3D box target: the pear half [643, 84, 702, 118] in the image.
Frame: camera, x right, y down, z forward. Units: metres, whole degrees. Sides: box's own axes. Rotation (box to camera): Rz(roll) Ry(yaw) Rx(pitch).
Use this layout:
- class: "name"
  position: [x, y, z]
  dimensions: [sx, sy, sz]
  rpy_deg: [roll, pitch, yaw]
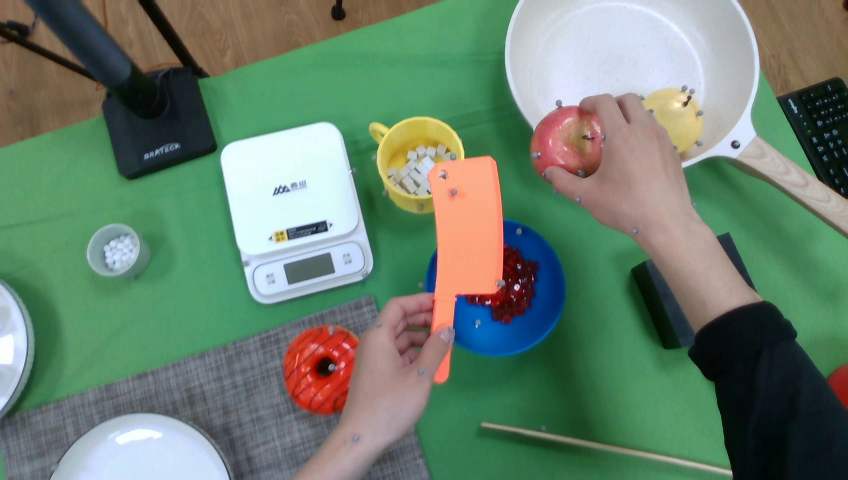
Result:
- class: "pear half"
  position: [0.289, -0.164, 0.704]
  dimensions: [0.070, 0.088, 0.031]
  rpy_deg: [15, 80, 8]

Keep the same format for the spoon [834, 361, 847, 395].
- class: "spoon"
  position: [0.496, 0.191, 0.604]
  dimensions: [0.041, 0.022, 0.191]
  rpy_deg: [-24, 34, -4]

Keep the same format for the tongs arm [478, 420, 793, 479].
- class: "tongs arm"
  position: [0.249, 0.240, 0.654]
  dimensions: [0.387, 0.028, 0.028]
  rpy_deg: [11, 72, 3]

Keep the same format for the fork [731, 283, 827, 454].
- class: "fork"
  position: [0.388, 0.141, 0.657]
  dimensions: [0.028, 0.018, 0.207]
  rpy_deg: [-28, 95, -7]

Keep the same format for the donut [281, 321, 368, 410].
- class: "donut"
  position: [-0.110, 0.139, 0.673]
  dimensions: [0.099, 0.048, 0.098]
  rpy_deg: [-1, 79, 4]

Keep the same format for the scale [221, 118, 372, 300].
- class: "scale"
  position: [-0.153, -0.039, 0.721]
  dimensions: [0.149, 0.032, 0.200]
  rpy_deg: [-14, 79, -1]

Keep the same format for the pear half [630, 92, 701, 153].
- class: "pear half"
  position: [0.275, -0.133, 0.688]
  dimensions: [0.076, 0.110, 0.056]
  rpy_deg: [17, 80, 8]

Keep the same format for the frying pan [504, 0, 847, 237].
- class: "frying pan"
  position: [0.312, -0.146, 0.698]
  dimensions: [0.306, 0.103, 0.484]
  rpy_deg: [-45, 73, -7]

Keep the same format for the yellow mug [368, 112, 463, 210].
- class: "yellow mug"
  position: [-0.016, -0.101, 0.714]
  dimensions: [0.130, 0.064, 0.100]
  rpy_deg: [38, 82, 10]

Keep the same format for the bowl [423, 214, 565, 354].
- class: "bowl"
  position: [0.075, 0.052, 0.675]
  dimensions: [0.151, 0.077, 0.150]
  rpy_deg: [0, 79, 1]

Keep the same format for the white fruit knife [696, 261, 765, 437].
- class: "white fruit knife"
  position: [0.329, 0.120, 0.655]
  dimensions: [0.016, 0.027, 0.207]
  rpy_deg: [-21, 93, -2]

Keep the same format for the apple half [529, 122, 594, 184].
- class: "apple half"
  position: [0.127, -0.077, 0.597]
  dimensions: [0.081, 0.081, 0.033]
  rpy_deg: [43, 85, 10]

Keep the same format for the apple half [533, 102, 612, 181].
- class: "apple half"
  position: [0.153, -0.104, 0.601]
  dimensions: [0.080, 0.075, 0.053]
  rpy_deg: [43, 82, 4]

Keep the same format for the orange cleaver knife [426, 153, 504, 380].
- class: "orange cleaver knife"
  position: [0.036, 0.020, 0.548]
  dimensions: [0.077, 0.012, 0.210]
  rpy_deg: [5, 81, -12]

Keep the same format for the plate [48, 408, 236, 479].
- class: "plate"
  position: [-0.299, 0.286, 0.650]
  dimensions: [0.209, 0.038, 0.208]
  rpy_deg: [0, 79, 1]

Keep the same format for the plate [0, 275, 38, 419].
- class: "plate"
  position: [-0.541, 0.129, 0.691]
  dimensions: [0.208, 0.039, 0.206]
  rpy_deg: [0, 78, 1]

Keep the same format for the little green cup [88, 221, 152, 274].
- class: "little green cup"
  position: [-0.354, 0.012, 0.712]
  dimensions: [0.061, 0.039, 0.061]
  rpy_deg: [0, 78, 2]
